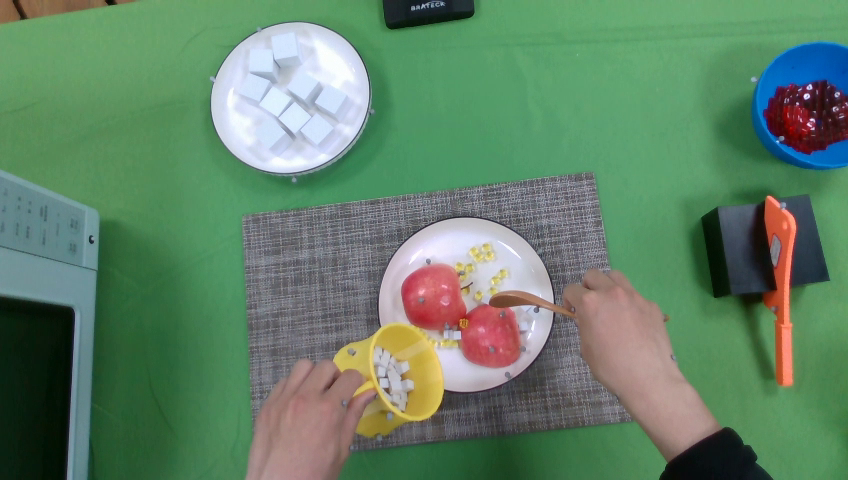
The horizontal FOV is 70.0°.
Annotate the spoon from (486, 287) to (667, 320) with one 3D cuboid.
[{"bbox_3d":[0.147,0.068,0.616,0.192,0.042,0.021,7,67,40],"label":"spoon"}]

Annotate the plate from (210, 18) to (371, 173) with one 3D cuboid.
[{"bbox_3d":[-0.170,-0.184,0.785,0.207,0.039,0.206,-1,79,4],"label":"plate"}]

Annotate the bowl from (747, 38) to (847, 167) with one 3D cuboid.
[{"bbox_3d":[0.447,-0.149,0.712,0.151,0.077,0.151,-1,80,5],"label":"bowl"}]

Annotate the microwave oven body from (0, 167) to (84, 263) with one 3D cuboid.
[{"bbox_3d":[-0.575,0.155,0.635,0.326,0.261,0.440,-4,80,3],"label":"microwave oven body"}]

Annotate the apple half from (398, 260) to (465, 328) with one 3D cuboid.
[{"bbox_3d":[0.007,0.063,0.707,0.074,0.053,0.080,-9,80,5],"label":"apple half"}]

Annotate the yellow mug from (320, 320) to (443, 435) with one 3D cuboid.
[{"bbox_3d":[-0.047,0.140,0.598,0.064,0.131,0.099,-33,77,36],"label":"yellow mug"}]

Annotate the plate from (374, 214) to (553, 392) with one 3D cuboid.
[{"bbox_3d":[0.046,0.073,0.718,0.209,0.038,0.208,-1,80,4],"label":"plate"}]

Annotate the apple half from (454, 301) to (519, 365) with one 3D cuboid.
[{"bbox_3d":[0.073,0.108,0.702,0.081,0.033,0.081,-1,76,4],"label":"apple half"}]

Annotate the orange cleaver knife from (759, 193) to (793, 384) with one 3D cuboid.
[{"bbox_3d":[0.391,0.055,0.677,0.012,0.077,0.212,-6,103,7],"label":"orange cleaver knife"}]

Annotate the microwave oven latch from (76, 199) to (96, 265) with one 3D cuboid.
[{"bbox_3d":[-0.429,-0.009,0.753,0.030,0.029,0.079,-2,80,3],"label":"microwave oven latch"}]

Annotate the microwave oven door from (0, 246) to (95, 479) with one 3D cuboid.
[{"bbox_3d":[-0.428,0.186,0.614,0.039,0.245,0.354,-4,79,4],"label":"microwave oven door"}]
